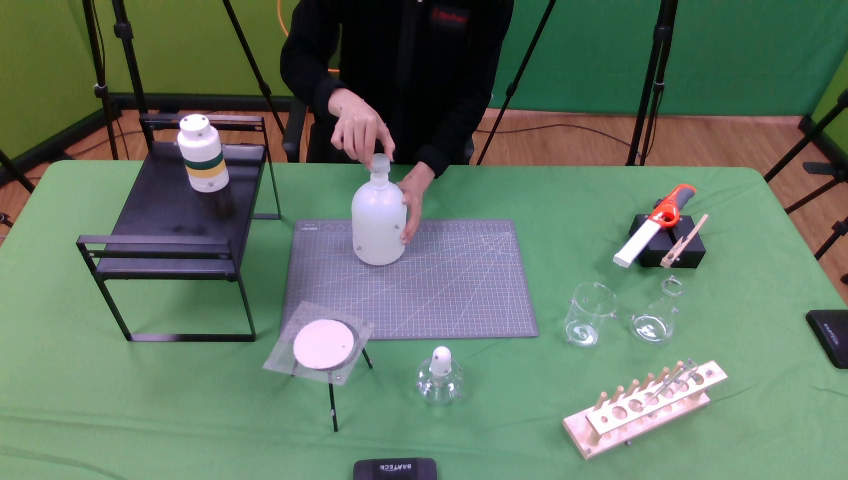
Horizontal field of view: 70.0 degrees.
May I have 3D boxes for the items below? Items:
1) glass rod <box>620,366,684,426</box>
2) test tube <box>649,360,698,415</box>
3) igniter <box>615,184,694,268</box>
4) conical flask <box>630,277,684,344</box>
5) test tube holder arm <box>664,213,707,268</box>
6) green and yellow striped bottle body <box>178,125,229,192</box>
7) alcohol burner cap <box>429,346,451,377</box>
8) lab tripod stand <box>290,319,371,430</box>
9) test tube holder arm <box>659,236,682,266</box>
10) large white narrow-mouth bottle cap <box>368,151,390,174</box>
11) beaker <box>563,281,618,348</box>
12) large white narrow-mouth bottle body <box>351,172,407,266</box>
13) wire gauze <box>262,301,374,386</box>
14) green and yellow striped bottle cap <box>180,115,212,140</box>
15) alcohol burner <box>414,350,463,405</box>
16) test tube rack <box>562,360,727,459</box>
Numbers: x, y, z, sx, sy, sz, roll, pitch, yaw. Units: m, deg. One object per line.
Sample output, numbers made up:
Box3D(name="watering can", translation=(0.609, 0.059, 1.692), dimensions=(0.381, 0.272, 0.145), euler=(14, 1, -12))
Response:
Box3D(name="glass rod", translation=(0.323, 0.227, 0.866), dimensions=(0.008, 0.200, 0.008), euler=(5, 51, -7))
Box3D(name="test tube", translation=(0.365, 0.222, 0.898), dimensions=(0.017, 0.151, 0.017), euler=(4, 49, -5))
Box3D(name="igniter", translation=(0.459, -0.035, 1.197), dimensions=(0.057, 0.025, 0.276), euler=(32, 55, 27))
Box3D(name="conical flask", translation=(0.409, 0.117, 1.045), dimensions=(0.075, 0.122, 0.075), euler=(2, 46, -2))
Box3D(name="test tube holder arm", translation=(0.506, -0.001, 1.171), dimensions=(0.013, 0.015, 0.178), euler=(33, 53, 26))
Box3D(name="green and yellow striped bottle body", translation=(-0.361, -0.142, 0.989), dimensions=(0.063, 0.120, 0.063), euler=(2, 46, -2))
Box3D(name="alcohol burner cap", translation=(0.026, 0.180, 0.912), dimensions=(0.034, 0.048, 0.033), euler=(1, 47, -1))
Box3D(name="lab tripod stand", translation=(-0.146, 0.193, 0.923), dimensions=(0.148, 0.132, 0.147), euler=(1, 47, -1))
Box3D(name="test tube holder arm", translation=(0.472, 0.020, 1.149), dimensions=(0.010, 0.015, 0.088), euler=(34, 54, 27))
Box3D(name="large white narrow-mouth bottle cap", translation=(-0.076, -0.132, 1.033), dimensions=(0.038, 0.024, 0.037), euler=(2, 45, -2))
Box3D(name="beaker", translation=(0.283, 0.129, 1.041), dimensions=(0.074, 0.101, 0.083), euler=(11, 46, 7))
Box3D(name="large white narrow-mouth bottle body", translation=(-0.083, -0.048, 1.116), dimensions=(0.102, 0.195, 0.101), euler=(3, 44, -2))
Box3D(name="wire gauze", translation=(-0.150, 0.148, 0.873), dimensions=(0.121, 0.011, 0.124), euler=(14, 46, 12))
Box3D(name="green and yellow striped bottle cap", translation=(-0.358, -0.177, 0.951), dimensions=(0.045, 0.020, 0.045), euler=(2, 45, -1))
Box3D(name="alcohol burner", translation=(0.023, 0.205, 0.939), dimensions=(0.078, 0.120, 0.077), euler=(1, 47, -1))
Box3D(name="test tube rack", translation=(0.341, 0.247, 0.940), dimensions=(0.243, 0.085, 0.066), euler=(-16, 49, -18))
